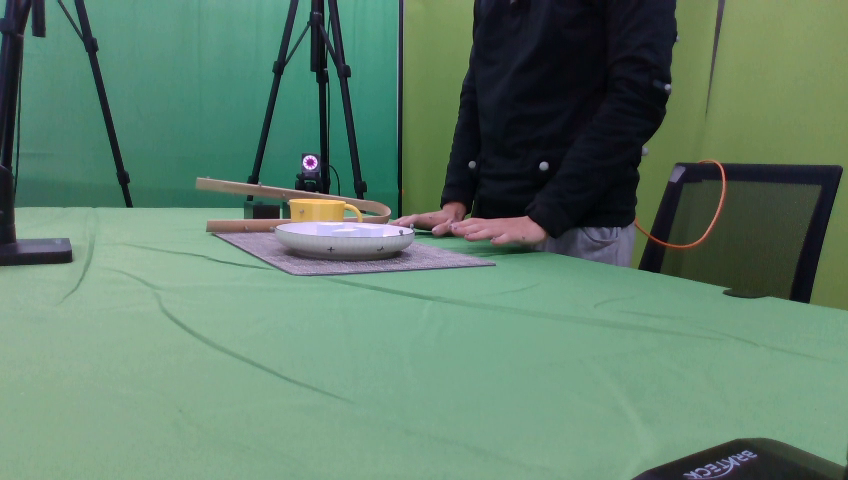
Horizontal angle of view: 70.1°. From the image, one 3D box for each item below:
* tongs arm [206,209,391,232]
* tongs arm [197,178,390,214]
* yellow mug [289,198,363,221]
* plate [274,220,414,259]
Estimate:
[{"bbox_3d":[-0.224,-0.037,1.170,0.390,0.028,0.028,-4,31,-36],"label":"tongs arm"},{"bbox_3d":[-0.256,-0.083,1.230,0.387,0.026,0.050,5,30,-26],"label":"tongs arm"},{"bbox_3d":[-0.174,-0.039,1.071,0.131,0.064,0.100,3,6,0],"label":"yellow mug"},{"bbox_3d":[-0.118,-0.001,0.902,0.208,0.039,0.207,3,7,0],"label":"plate"}]
